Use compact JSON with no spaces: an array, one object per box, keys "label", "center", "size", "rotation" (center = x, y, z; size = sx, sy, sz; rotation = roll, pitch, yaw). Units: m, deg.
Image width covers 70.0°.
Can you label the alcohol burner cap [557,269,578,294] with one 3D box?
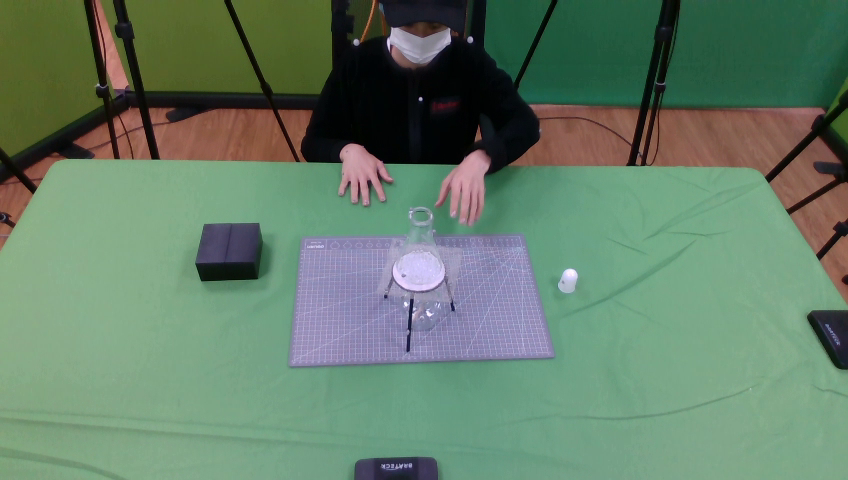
[{"label":"alcohol burner cap","center":[0.270,0.074,1.135],"size":[0.034,0.048,0.033],"rotation":[3,46,-2]}]

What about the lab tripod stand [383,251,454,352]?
[{"label":"lab tripod stand","center":[-0.016,0.094,1.025],"size":[0.148,0.132,0.147],"rotation":[1,46,-1]}]

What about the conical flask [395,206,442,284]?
[{"label":"conical flask","center":[-0.007,0.005,0.937],"size":[0.075,0.122,0.075],"rotation":[2,45,-1]}]

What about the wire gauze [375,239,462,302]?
[{"label":"wire gauze","center":[-0.006,0.049,0.977],"size":[0.121,0.011,0.124],"rotation":[10,44,5]}]

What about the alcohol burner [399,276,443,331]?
[{"label":"alcohol burner","center":[-0.004,0.100,1.033],"size":[0.078,0.119,0.077],"rotation":[3,48,-3]}]
